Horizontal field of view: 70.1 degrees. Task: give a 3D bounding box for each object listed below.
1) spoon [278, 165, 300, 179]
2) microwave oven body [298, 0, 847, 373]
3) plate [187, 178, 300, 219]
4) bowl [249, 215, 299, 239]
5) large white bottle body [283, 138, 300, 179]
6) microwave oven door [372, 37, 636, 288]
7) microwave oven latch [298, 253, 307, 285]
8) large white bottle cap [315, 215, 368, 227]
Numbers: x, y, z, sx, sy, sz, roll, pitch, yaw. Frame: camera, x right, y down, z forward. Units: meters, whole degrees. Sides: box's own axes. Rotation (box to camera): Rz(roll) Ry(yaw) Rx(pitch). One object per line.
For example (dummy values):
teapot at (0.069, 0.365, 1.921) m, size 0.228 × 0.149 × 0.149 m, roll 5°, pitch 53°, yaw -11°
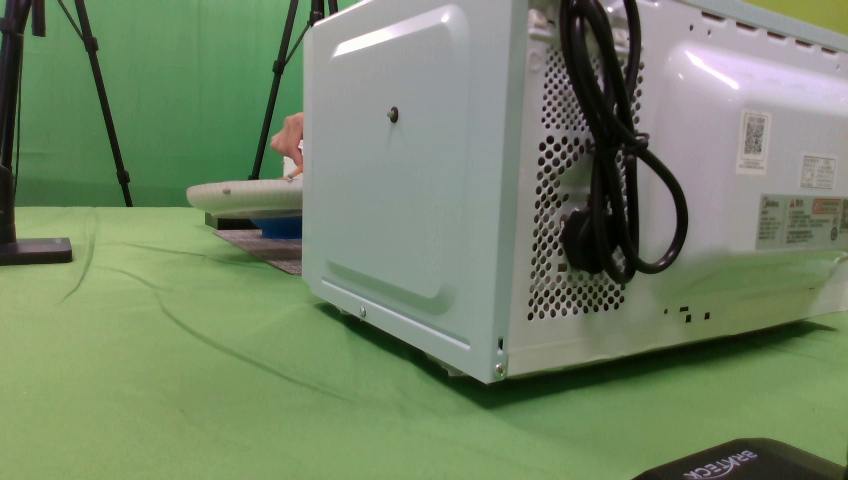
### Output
spoon at (-0.205, -0.099, 0.931) m, size 0.021 × 0.041 × 0.194 m, roll -23°, pitch 16°, yaw 35°
microwave oven body at (0.151, -0.055, 0.542) m, size 0.444 × 0.260 × 0.324 m, roll -2°, pitch 7°, yaw -33°
plate at (-0.213, -0.054, 0.831) m, size 0.209 × 0.038 × 0.209 m, roll -5°, pitch -1°, yaw 0°
bowl at (-0.245, -0.045, 1.053) m, size 0.151 × 0.077 × 0.151 m, roll 3°, pitch 8°, yaw 0°
large white bottle body at (-0.265, -0.144, 1.423) m, size 0.131 × 0.184 × 0.130 m, roll 2°, pitch 7°, yaw 0°
microwave oven door at (0.110, -0.080, 0.686) m, size 0.358 × 0.243 × 0.039 m, roll -2°, pitch 9°, yaw -33°
microwave oven latch at (-0.081, 0.027, 0.582) m, size 0.079 × 0.029 × 0.030 m, roll -1°, pitch 7°, yaw -32°
large white bottle cap at (-0.178, -0.041, 1.309) m, size 0.115 × 0.018 × 0.115 m, roll 2°, pitch 6°, yaw 0°
